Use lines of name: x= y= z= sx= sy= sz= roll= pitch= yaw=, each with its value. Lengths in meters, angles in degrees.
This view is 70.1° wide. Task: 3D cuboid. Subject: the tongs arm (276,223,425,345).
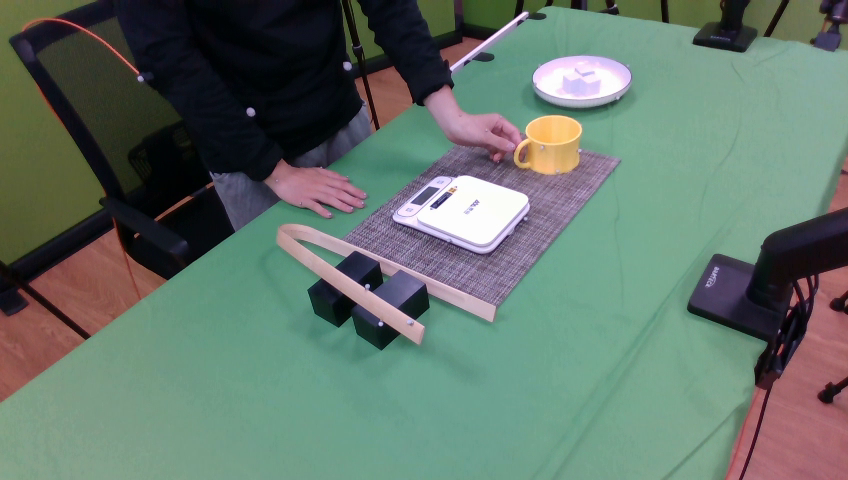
tongs arm: x=-0.114 y=0.049 z=0.856 sx=0.051 sy=0.026 sz=0.381 roll=-7 pitch=24 yaw=-43

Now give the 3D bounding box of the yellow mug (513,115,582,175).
yellow mug: x=0.220 y=-0.168 z=1.094 sx=0.131 sy=0.064 sz=0.099 roll=-21 pitch=42 yaw=-14

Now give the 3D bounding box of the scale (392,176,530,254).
scale: x=0.060 y=-0.050 z=1.006 sx=0.199 sy=0.032 sz=0.149 roll=22 pitch=48 yaw=30

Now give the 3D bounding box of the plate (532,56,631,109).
plate: x=0.336 y=-0.336 z=1.301 sx=0.207 sy=0.039 sz=0.206 roll=-4 pitch=41 yaw=4

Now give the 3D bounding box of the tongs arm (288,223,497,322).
tongs arm: x=-0.060 y=0.042 z=0.918 sx=0.384 sy=0.028 sz=0.028 roll=21 pitch=24 yaw=29
